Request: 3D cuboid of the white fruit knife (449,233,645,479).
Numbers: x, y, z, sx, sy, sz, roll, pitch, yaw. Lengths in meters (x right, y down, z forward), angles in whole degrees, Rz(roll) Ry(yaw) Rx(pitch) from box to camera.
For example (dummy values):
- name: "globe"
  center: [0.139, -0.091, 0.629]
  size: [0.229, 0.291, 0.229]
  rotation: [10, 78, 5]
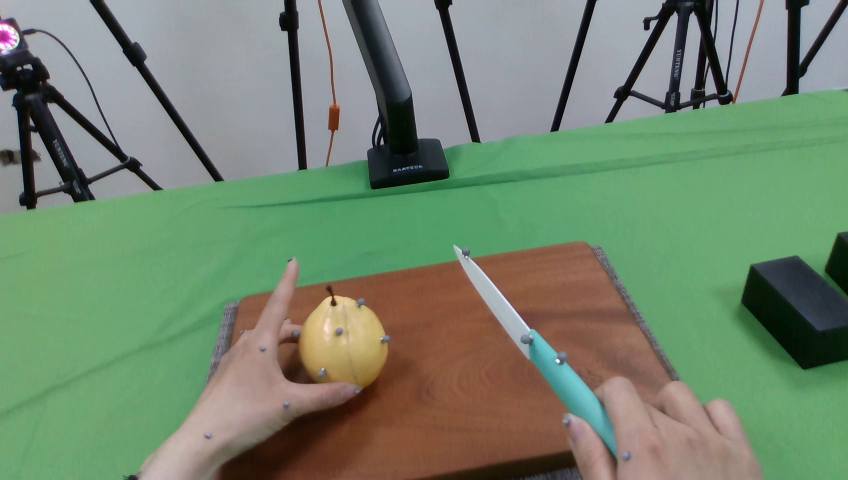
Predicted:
- name: "white fruit knife"
  center: [0.073, 0.066, 0.404]
  size: [0.016, 0.027, 0.205]
  rotation: [-19, 54, -30]

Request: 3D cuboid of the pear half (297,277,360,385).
- name: "pear half"
  center: [-0.087, 0.076, 0.534]
  size: [0.056, 0.111, 0.075]
  rotation: [-9, 33, -3]

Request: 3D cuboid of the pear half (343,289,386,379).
- name: "pear half"
  center: [-0.050, 0.081, 0.541]
  size: [0.031, 0.089, 0.070]
  rotation: [-8, 29, -4]
